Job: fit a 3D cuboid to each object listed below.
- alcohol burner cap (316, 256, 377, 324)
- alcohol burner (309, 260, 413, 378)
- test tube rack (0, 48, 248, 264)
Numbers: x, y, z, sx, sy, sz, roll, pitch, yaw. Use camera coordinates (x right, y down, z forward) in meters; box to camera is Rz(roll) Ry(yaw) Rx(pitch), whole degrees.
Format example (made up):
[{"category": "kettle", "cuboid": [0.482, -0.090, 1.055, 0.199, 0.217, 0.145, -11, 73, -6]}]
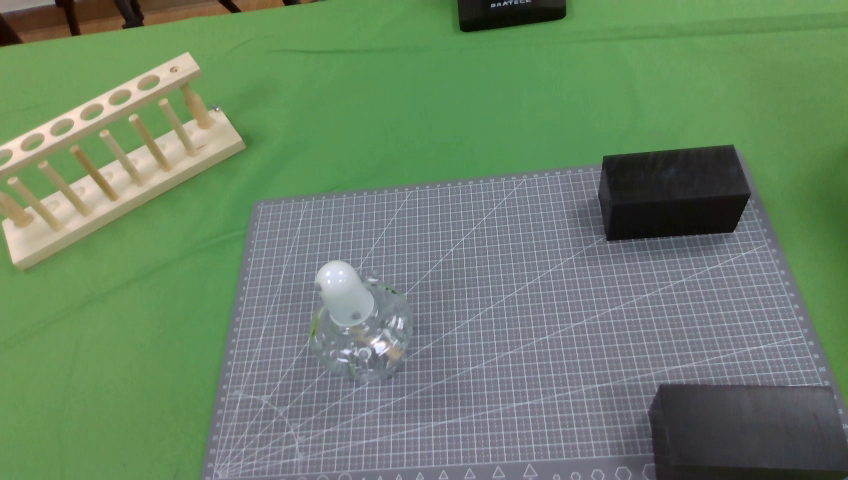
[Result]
[{"category": "alcohol burner cap", "cuboid": [-0.054, 0.031, 0.404, 0.034, 0.048, 0.033, -8, 51, 10]}, {"category": "alcohol burner", "cuboid": [-0.049, 0.051, 0.433, 0.078, 0.120, 0.077, -5, 53, 7]}, {"category": "test tube rack", "cuboid": [-0.306, -0.083, 0.589, 0.242, 0.086, 0.066, -32, 57, -12]}]
